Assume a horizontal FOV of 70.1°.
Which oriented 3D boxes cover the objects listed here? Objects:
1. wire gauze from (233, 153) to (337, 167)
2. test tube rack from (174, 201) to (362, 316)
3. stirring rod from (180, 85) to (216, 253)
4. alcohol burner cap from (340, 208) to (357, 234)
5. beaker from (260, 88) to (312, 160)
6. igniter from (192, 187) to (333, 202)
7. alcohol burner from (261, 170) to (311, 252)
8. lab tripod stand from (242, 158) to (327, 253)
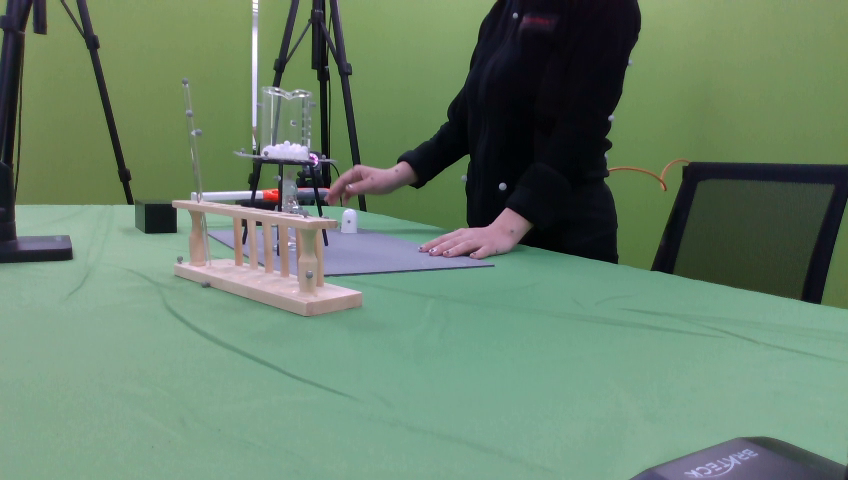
[{"bbox_3d":[-0.205,-0.119,0.887,0.122,0.011,0.124,2,4,-32],"label":"wire gauze"},{"bbox_3d":[-0.169,0.009,0.622,0.241,0.085,0.067,9,9,41],"label":"test tube rack"},{"bbox_3d":[-0.237,-0.073,0.634,0.006,0.176,0.014,1,10,43],"label":"stirring rod"},{"bbox_3d":[-0.142,-0.036,1.136,0.034,0.048,0.034,3,7,0],"label":"alcohol burner cap"},{"bbox_3d":[-0.200,-0.166,0.876,0.074,0.100,0.083,1,7,-18],"label":"beaker"},{"bbox_3d":[-0.316,-0.090,1.214,0.278,0.025,0.057,-5,12,-31],"label":"igniter"},{"bbox_3d":[-0.201,-0.043,0.891,0.078,0.119,0.078,1,6,0],"label":"alcohol burner"},{"bbox_3d":[-0.207,-0.054,0.895,0.148,0.131,0.148,2,5,0],"label":"lab tripod stand"}]
